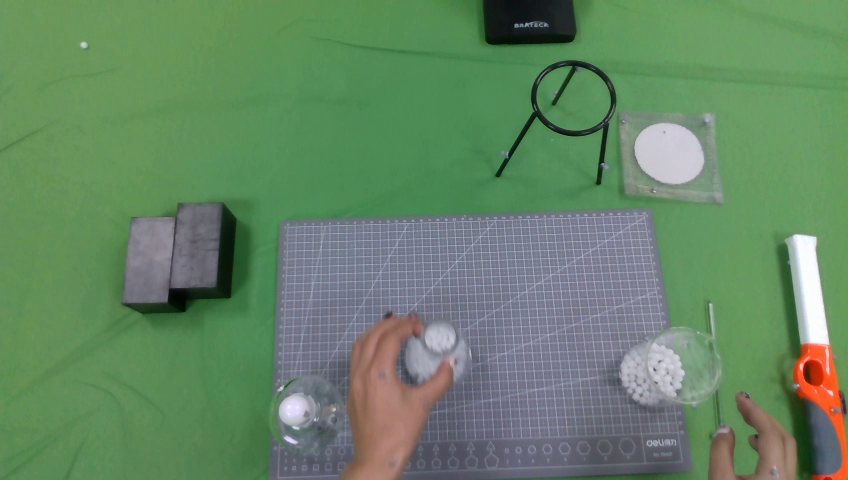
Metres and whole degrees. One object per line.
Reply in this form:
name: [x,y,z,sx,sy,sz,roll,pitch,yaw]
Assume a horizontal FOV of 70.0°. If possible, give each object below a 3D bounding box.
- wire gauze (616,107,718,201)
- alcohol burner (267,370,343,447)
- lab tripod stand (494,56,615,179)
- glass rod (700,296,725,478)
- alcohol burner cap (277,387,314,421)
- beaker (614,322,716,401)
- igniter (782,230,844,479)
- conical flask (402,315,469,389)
wire gauze: [0.305,-0.111,0.759,0.125,0.011,0.121,4,73,-1]
alcohol burner: [-0.124,0.168,0.609,0.078,0.120,0.077,-1,71,2]
lab tripod stand: [0.154,-0.133,0.699,0.148,0.132,0.147,0,74,0]
glass rod: [0.321,0.159,0.674,0.008,0.008,0.198,2,73,0]
alcohol burner cap: [-0.123,0.156,0.575,0.034,0.048,0.033,1,76,-4]
beaker: [0.248,0.129,0.632,0.084,0.101,0.073,-38,77,-12]
igniter: [0.433,0.122,0.677,0.057,0.025,0.275,7,72,-9]
conical flask: [0.013,0.109,0.623,0.075,0.122,0.075,0,69,0]
